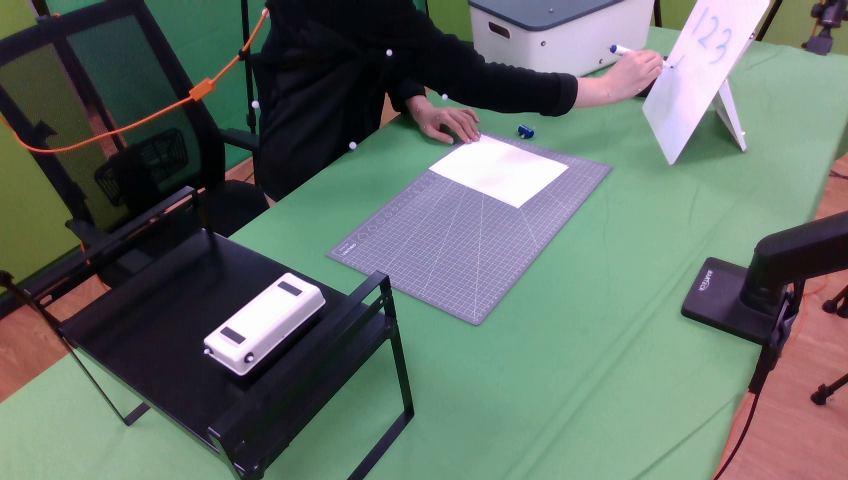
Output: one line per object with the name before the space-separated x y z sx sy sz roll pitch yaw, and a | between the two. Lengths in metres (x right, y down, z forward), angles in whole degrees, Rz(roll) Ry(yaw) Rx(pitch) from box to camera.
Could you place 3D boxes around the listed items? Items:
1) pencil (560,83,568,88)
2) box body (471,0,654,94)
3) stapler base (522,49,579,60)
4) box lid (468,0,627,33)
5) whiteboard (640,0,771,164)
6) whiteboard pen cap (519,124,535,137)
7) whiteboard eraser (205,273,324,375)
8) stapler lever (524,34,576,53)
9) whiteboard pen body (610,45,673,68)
pencil | 0.248 -0.393 1.398 0.193 0.012 0.012 33 53 23
box body | 0.319 -0.498 1.405 0.365 0.161 0.252 -26 43 -21
stapler base | 0.300 -0.441 1.434 0.130 0.024 0.041 3 23 18
box lid | 0.312 -0.554 1.358 0.373 0.015 0.261 -26 44 -20
whiteboard | 0.543 -0.299 1.076 0.144 0.305 0.216 12 40 -7
whiteboard pen cap | 0.206 -0.218 1.204 0.018 0.018 0.033 -27 45 -22
whiteboard eraser | -0.157 0.084 0.605 0.055 0.042 0.113 24 49 30
stapler lever | 0.297 -0.462 1.424 0.117 0.040 0.027 5 24 17
whiteboard pen body | 0.405 -0.337 1.121 0.142 0.017 0.017 9 36 -20
